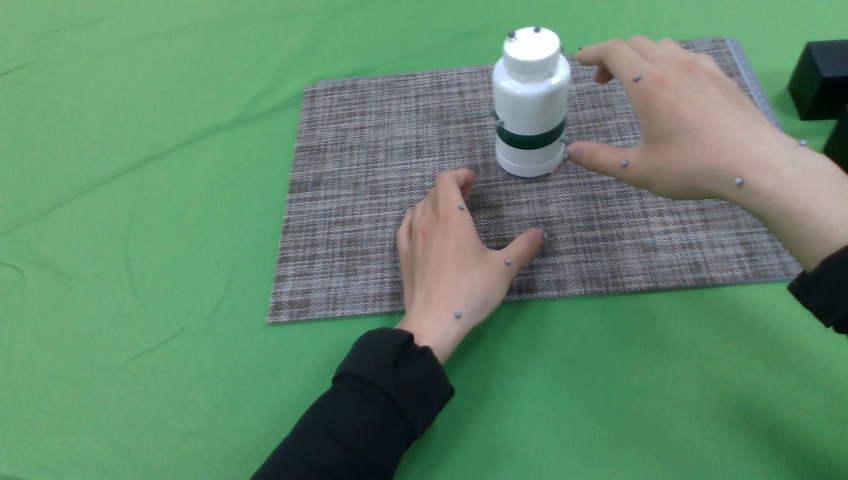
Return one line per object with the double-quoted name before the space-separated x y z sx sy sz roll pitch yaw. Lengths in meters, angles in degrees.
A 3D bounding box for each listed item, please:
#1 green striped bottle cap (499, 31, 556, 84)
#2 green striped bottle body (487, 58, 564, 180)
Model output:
"green striped bottle cap" 0.082 -0.145 0.479 0.044 0.020 0.044 -6 55 8
"green striped bottle body" 0.087 -0.114 0.521 0.063 0.120 0.062 -4 52 6
